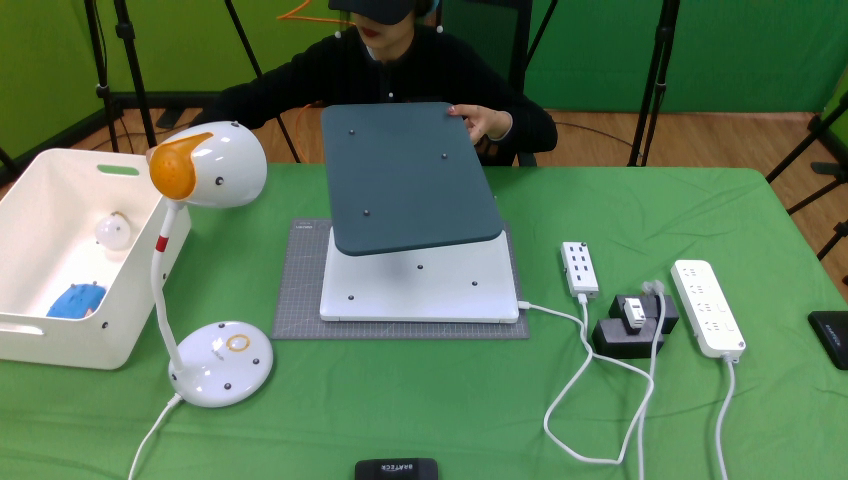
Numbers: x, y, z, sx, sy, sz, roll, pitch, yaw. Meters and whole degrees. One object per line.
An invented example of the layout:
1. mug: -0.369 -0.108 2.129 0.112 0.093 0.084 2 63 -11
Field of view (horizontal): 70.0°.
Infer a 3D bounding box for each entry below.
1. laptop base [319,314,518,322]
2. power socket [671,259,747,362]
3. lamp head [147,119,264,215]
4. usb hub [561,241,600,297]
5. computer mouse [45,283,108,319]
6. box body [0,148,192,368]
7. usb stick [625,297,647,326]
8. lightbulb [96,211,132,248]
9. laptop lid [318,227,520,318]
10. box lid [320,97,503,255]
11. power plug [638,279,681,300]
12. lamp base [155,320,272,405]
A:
1. laptop base: -0.009 0.062 1.138 0.354 0.023 0.234 1 43 -3
2. power socket: 0.516 0.119 1.108 0.072 0.033 0.225 1 46 -2
3. lamp head: -0.276 -0.087 0.740 0.112 0.112 0.123 20 23 15
4. usb hub: 0.300 0.055 1.162 0.049 0.025 0.124 2 46 -3
5. computer mouse: -0.587 0.115 1.020 0.063 0.041 0.116 3 43 3
6. box body: -0.578 0.025 1.029 0.254 0.161 0.362 5 47 1
7. usb stick: 0.360 0.116 1.034 0.021 0.027 0.059 -2 44 -2
8. lightbulb: -0.583 -0.025 1.147 0.059 0.060 0.107 -10 29 -13
9. laptop lid: -0.009 0.053 1.131 0.357 0.013 0.240 2 43 -2
10. box lid: -0.033 -0.122 1.017 0.263 0.015 0.369 -6 48 -8
11. power plug: 0.434 0.099 1.118 0.073 0.053 0.035 34 37 -15
12. lamp base: -0.330 0.149 0.918 0.160 0.181 0.179 26 52 20
